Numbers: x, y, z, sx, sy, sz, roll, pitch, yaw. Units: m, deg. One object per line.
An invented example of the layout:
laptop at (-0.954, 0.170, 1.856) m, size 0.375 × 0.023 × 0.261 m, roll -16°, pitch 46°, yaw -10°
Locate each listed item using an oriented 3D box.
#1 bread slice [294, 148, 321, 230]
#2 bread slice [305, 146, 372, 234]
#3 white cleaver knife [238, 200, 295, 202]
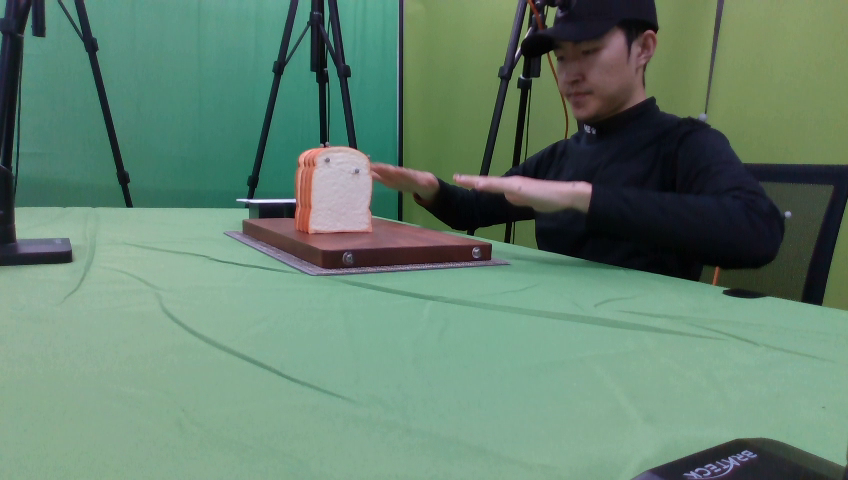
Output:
bread slice at (-0.158, -0.081, 0.970) m, size 0.105 × 0.131 × 0.019 m, roll -1°, pitch 2°, yaw -33°
bread slice at (-0.131, -0.076, 0.924) m, size 0.107 × 0.134 × 0.018 m, roll -5°, pitch 10°, yaw -32°
white cleaver knife at (-0.263, -0.087, 1.300) m, size 0.065 × 0.021 × 0.288 m, roll 9°, pitch 8°, yaw 42°
